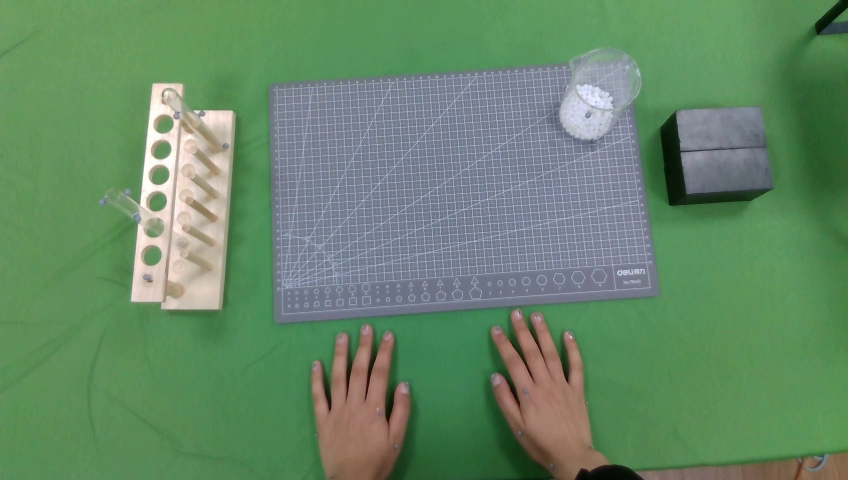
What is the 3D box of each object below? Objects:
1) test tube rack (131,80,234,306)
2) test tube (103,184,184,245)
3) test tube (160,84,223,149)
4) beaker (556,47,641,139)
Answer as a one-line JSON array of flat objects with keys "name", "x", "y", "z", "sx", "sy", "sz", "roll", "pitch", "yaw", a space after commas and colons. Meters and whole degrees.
[{"name": "test tube rack", "x": -0.270, "y": -0.050, "z": 0.689, "sx": 0.067, "sy": 0.085, "sz": 0.241, "roll": 0, "pitch": 79, "yaw": 1}, {"name": "test tube", "x": -0.288, "y": -0.023, "z": 0.634, "sx": 0.017, "sy": 0.151, "sz": 0.017, "roll": -1, "pitch": 72, "yaw": 3}, {"name": "test tube", "x": -0.250, "y": -0.131, "z": 0.659, "sx": 0.017, "sy": 0.151, "sz": 0.017, "roll": 0, "pitch": 78, "yaw": 0}, {"name": "beaker", "x": 0.194, "y": -0.166, "z": 0.702, "sx": 0.084, "sy": 0.100, "sz": 0.074, "roll": 33, "pitch": 80, "yaw": 8}]
